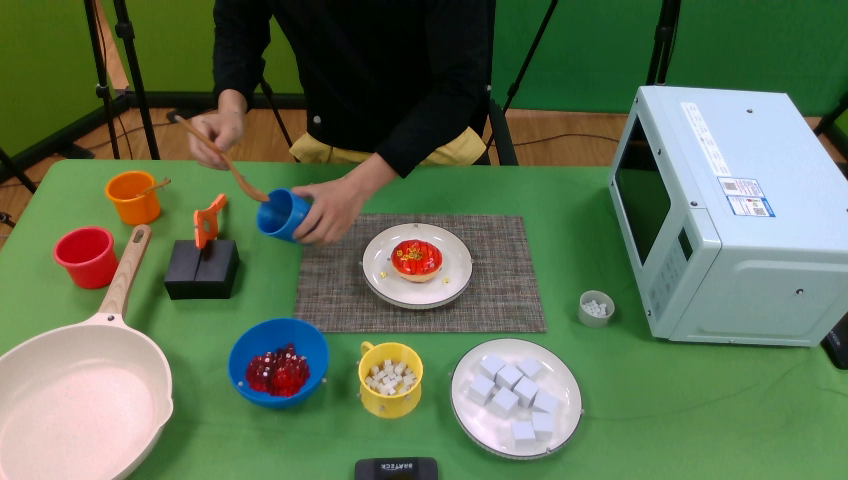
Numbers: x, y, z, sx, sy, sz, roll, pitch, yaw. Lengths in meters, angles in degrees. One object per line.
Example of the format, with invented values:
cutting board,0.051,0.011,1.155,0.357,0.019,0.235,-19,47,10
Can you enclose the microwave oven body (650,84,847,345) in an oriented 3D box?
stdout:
microwave oven body,0.569,-0.054,1.116,0.326,0.261,0.439,2,46,-1

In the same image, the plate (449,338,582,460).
plate,0.141,0.251,0.955,0.208,0.039,0.206,2,46,-2

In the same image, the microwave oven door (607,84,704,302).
microwave oven door,0.424,-0.096,1.137,0.039,0.245,0.353,2,46,-1

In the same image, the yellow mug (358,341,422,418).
yellow mug,-0.063,0.210,0.961,0.100,0.064,0.130,-29,54,-28

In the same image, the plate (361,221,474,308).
plate,-0.011,0.049,1.130,0.209,0.038,0.208,2,46,-2

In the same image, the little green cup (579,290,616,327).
little green cup,0.308,0.124,1.086,0.061,0.039,0.061,1,45,-1

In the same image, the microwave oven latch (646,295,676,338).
microwave oven latch,0.413,0.133,1.060,0.030,0.029,0.078,4,46,1

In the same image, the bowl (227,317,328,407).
bowl,-0.222,0.203,0.947,0.151,0.077,0.150,2,46,-2

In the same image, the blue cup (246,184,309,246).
blue cup,-0.243,-0.034,1.037,0.092,0.100,0.092,-3,68,9

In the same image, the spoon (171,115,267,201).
spoon,-0.322,-0.128,0.962,0.021,0.195,0.041,-35,33,5

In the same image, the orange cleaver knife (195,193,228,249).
orange cleaver knife,-0.406,-0.041,1.163,0.012,0.077,0.210,0,17,-4

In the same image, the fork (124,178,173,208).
fork,-0.525,-0.089,1.153,0.207,0.019,0.028,-17,27,45

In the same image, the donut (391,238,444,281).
donut,-0.012,0.035,1.129,0.099,0.048,0.098,2,42,-2

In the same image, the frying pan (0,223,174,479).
frying pan,-0.505,0.169,0.941,0.307,0.103,0.485,5,54,-1
